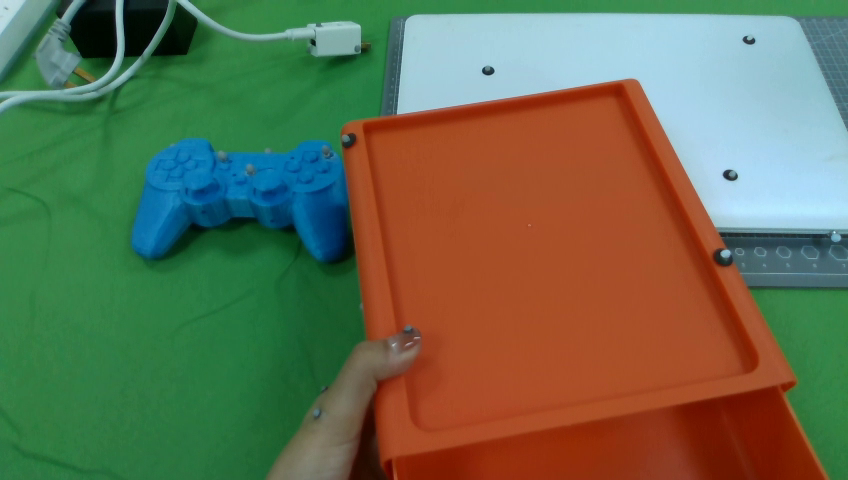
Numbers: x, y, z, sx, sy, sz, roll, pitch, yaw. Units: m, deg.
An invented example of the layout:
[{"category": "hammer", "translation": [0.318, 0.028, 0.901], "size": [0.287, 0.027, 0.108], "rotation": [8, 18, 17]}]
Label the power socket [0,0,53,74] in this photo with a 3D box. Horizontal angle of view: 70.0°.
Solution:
[{"category": "power socket", "translation": [-0.414, -0.237, 0.595], "size": [0.072, 0.033, 0.224], "rotation": [4, 56, 3]}]

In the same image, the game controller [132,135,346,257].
[{"category": "game controller", "translation": [-0.132, -0.038, 0.446], "size": [0.155, 0.052, 0.096], "rotation": [2, 52, 2]}]

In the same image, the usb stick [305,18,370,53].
[{"category": "usb stick", "translation": [-0.077, -0.186, 0.550], "size": [0.059, 0.027, 0.021], "rotation": [-14, 33, -33]}]

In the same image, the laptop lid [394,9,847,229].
[{"category": "laptop lid", "translation": [0.151, -0.109, 0.488], "size": [0.356, 0.013, 0.239], "rotation": [2, 58, 3]}]

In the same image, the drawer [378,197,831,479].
[{"category": "drawer", "translation": [0.076, 0.080, 0.317], "size": [0.195, 0.074, 0.209], "rotation": [-8, 57, -4]}]

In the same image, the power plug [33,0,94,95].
[{"category": "power plug", "translation": [-0.303, -0.164, 0.525], "size": [0.072, 0.053, 0.035], "rotation": [-52, 34, 3]}]

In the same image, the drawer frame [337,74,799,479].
[{"category": "drawer frame", "translation": [0.061, 0.015, 0.358], "size": [0.202, 0.083, 0.211], "rotation": [-10, 57, -4]}]

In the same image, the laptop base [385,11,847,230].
[{"category": "laptop base", "translation": [0.152, -0.104, 0.499], "size": [0.354, 0.023, 0.233], "rotation": [1, 59, 2]}]
